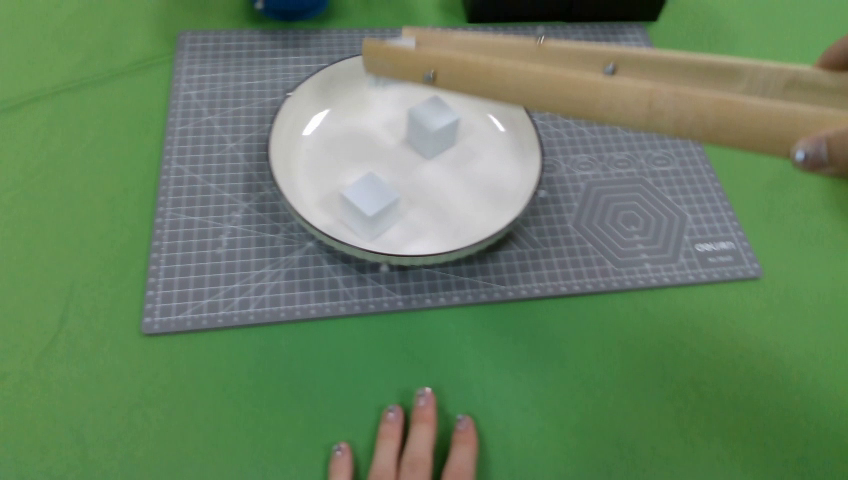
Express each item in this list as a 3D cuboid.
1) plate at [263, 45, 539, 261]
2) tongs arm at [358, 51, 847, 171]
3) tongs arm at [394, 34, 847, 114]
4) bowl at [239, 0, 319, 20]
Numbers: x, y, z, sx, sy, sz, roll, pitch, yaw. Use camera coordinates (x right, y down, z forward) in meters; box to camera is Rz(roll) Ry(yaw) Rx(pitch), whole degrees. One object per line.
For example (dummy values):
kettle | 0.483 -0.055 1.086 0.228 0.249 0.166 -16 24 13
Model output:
plate | -0.017 -0.069 0.473 0.208 0.039 0.205 3 58 -4
tongs arm | 0.104 -0.075 0.328 0.384 0.028 0.028 19 39 35
tongs arm | 0.121 -0.088 0.343 0.382 0.027 0.050 16 41 33
bowl | -0.138 -0.261 0.561 0.151 0.077 0.150 2 58 -3
